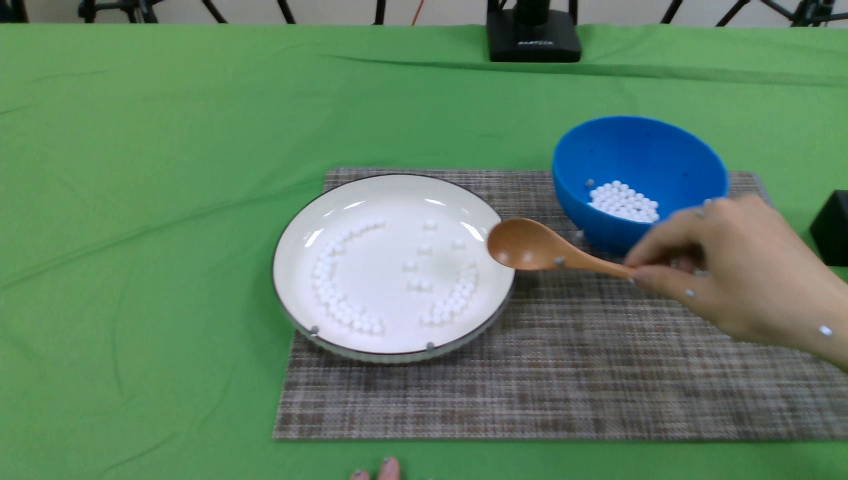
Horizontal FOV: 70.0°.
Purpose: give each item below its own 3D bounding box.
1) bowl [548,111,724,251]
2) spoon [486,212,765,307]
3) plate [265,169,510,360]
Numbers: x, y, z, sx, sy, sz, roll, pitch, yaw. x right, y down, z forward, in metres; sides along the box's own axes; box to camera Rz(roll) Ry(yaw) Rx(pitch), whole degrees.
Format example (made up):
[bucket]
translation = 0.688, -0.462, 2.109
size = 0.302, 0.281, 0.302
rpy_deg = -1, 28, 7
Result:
[bowl]
translation = 0.184, -0.043, 0.558
size = 0.151, 0.077, 0.150
rpy_deg = 1, 47, 0
[spoon]
translation = 0.137, 0.018, 0.433
size = 0.192, 0.042, 0.022
rpy_deg = 17, 16, 22
[plate]
translation = -0.030, 0.019, 0.528
size = 0.208, 0.039, 0.205
rpy_deg = 0, 47, 0
